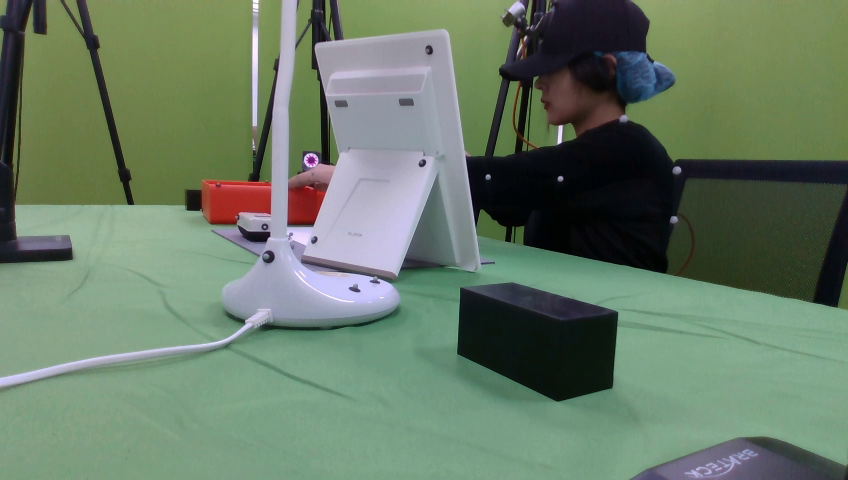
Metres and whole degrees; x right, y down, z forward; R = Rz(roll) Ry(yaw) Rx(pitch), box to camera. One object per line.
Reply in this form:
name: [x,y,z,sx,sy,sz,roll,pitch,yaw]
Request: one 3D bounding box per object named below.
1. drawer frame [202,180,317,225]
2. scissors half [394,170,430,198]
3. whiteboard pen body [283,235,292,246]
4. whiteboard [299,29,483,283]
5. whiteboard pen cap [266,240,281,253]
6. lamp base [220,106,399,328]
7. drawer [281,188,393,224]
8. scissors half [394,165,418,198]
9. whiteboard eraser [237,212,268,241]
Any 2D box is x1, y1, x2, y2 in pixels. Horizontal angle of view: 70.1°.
drawer frame: [-0.356,-0.084,1.300,0.214,0.082,0.200,-2,9,-25]
scissors half: [-0.027,-0.116,1.298,0.040,0.013,0.175,35,30,8]
whiteboard pen body: [-0.206,0.005,0.872,0.017,0.017,0.140,2,4,-6]
whiteboard: [-0.074,-0.082,0.742,0.216,0.305,0.144,9,29,38]
whiteboard pen cap: [-0.202,0.009,0.813,0.018,0.018,0.033,1,3,-8]
lamp base: [-0.101,-0.023,0.531,0.160,0.180,0.179,4,10,10]
drawer: [-0.200,-0.081,1.370,0.213,0.073,0.193,0,9,-24]
scissors half: [-0.044,-0.126,1.299,0.040,0.013,0.175,23,29,-3]
whiteboard eraser: [-0.272,-0.023,0.998,0.056,0.042,0.112,-3,9,-26]
